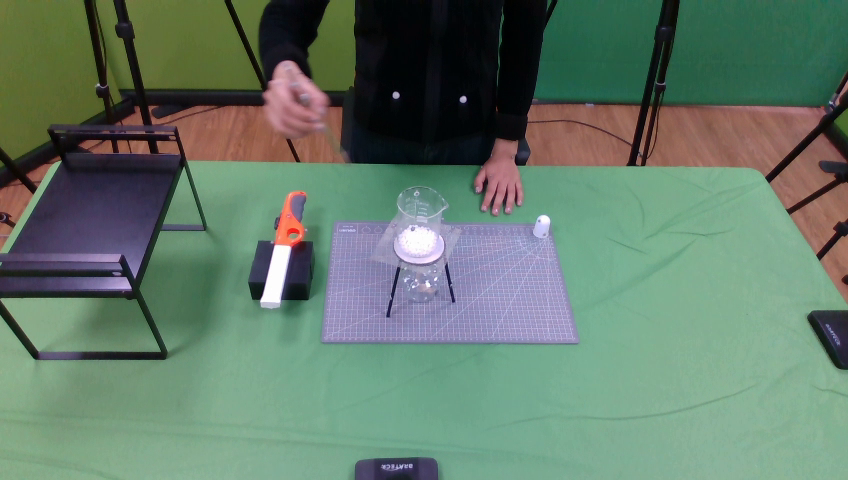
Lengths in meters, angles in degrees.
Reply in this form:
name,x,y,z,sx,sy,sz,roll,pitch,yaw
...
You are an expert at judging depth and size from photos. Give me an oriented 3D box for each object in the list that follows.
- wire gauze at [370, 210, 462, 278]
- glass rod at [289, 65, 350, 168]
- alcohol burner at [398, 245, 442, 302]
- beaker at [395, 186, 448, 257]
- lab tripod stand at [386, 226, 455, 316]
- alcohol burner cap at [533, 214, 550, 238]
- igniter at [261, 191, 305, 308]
name,x,y,z,sx,sy,sz,roll,pitch,yaw
wire gauze,-0.012,0.007,1.019,0.121,0.011,0.124,16,51,13
glass rod,-0.145,-0.169,0.861,0.008,0.201,0.008,-10,53,13
alcohol burner,-0.006,0.055,1.078,0.078,0.119,0.077,3,44,-3
beaker,-0.006,-0.027,0.984,0.084,0.101,0.073,1,48,-4
lab tripod stand,-0.013,0.054,1.064,0.148,0.132,0.147,2,48,-2
alcohol burner cap,0.240,-0.031,1.229,0.034,0.048,0.033,1,46,-1
igniter,-0.255,0.007,1.104,0.057,0.025,0.275,5,47,-4
